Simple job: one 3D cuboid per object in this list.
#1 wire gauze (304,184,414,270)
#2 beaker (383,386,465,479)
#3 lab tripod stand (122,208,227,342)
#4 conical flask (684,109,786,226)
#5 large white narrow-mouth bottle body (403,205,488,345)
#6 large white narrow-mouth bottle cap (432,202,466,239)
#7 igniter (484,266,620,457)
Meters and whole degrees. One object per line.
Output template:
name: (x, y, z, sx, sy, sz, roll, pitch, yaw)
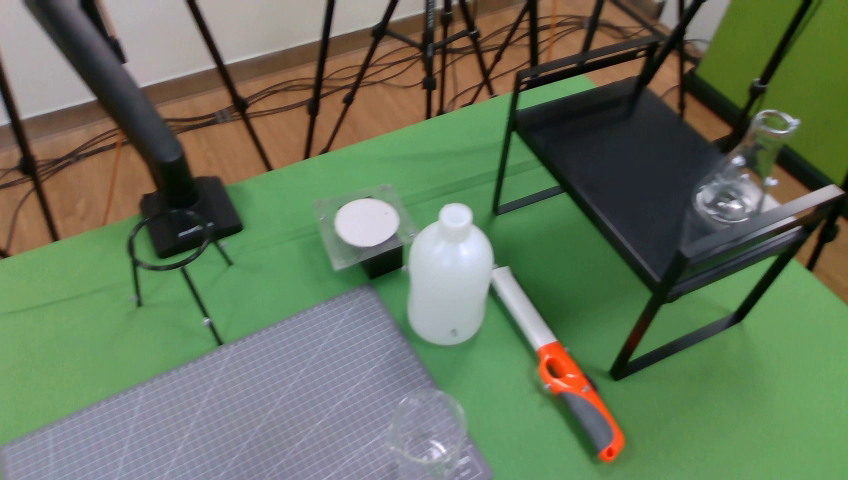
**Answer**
wire gauze: (-0.087, -0.025, 0.815, 0.122, 0.011, 0.123, -17, 53, -16)
beaker: (-0.002, 0.209, 0.627, 0.084, 0.101, 0.073, -19, 53, -16)
lab tripod stand: (-0.293, 0.039, 0.733, 0.148, 0.132, 0.147, 3, 50, -3)
conical flask: (0.332, -0.079, 0.639, 0.075, 0.123, 0.074, 1, 50, -1)
large white narrow-mouth bottle body: (0.024, 0.036, 0.714, 0.102, 0.196, 0.101, 1, 50, -1)
large white narrow-mouth bottle cap: (0.026, -0.021, 0.648, 0.038, 0.024, 0.037, 1, 50, -1)
igniter: (0.151, 0.139, 0.745, 0.057, 0.025, 0.273, -13, 51, -26)
